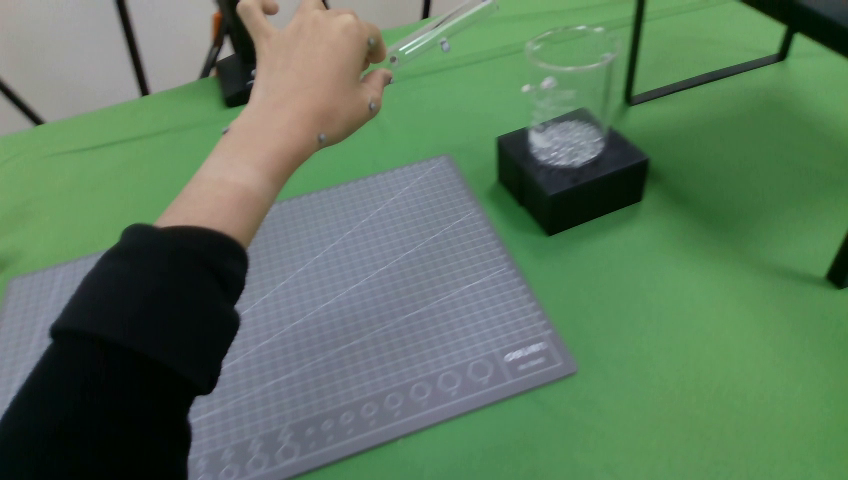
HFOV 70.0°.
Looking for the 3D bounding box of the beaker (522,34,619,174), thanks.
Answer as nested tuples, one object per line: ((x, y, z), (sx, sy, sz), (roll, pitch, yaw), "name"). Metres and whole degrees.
((0.121, -0.116, 0.524), (0.083, 0.101, 0.074), (30, 56, 35), "beaker")

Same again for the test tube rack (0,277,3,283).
((-0.522, 0.067, 0.526), (0.066, 0.086, 0.242), (27, 54, 32), "test tube rack")

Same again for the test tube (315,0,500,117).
((-0.015, -0.129, 0.436), (0.150, 0.017, 0.017), (-26, 41, 13), "test tube")
